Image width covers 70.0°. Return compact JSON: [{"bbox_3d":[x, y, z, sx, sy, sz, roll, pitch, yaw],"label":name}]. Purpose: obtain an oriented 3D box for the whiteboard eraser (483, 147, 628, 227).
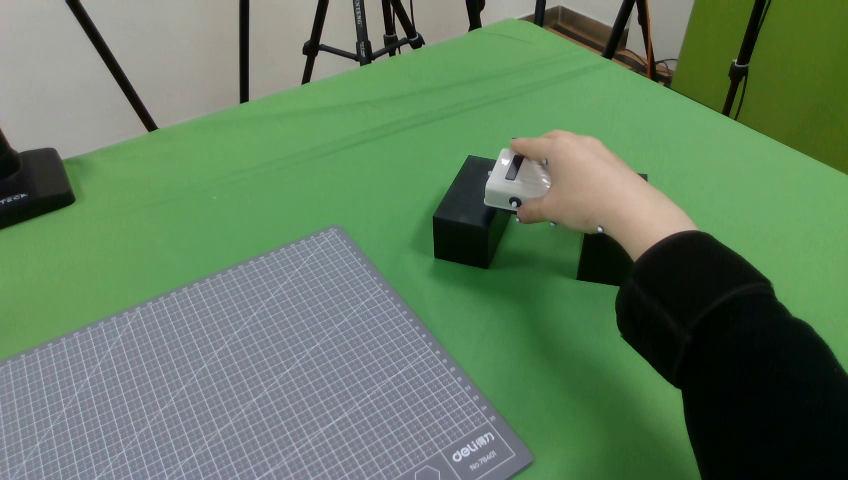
[{"bbox_3d":[0.110,-0.043,0.507,0.112,0.042,0.055,11,51,18],"label":"whiteboard eraser"}]
